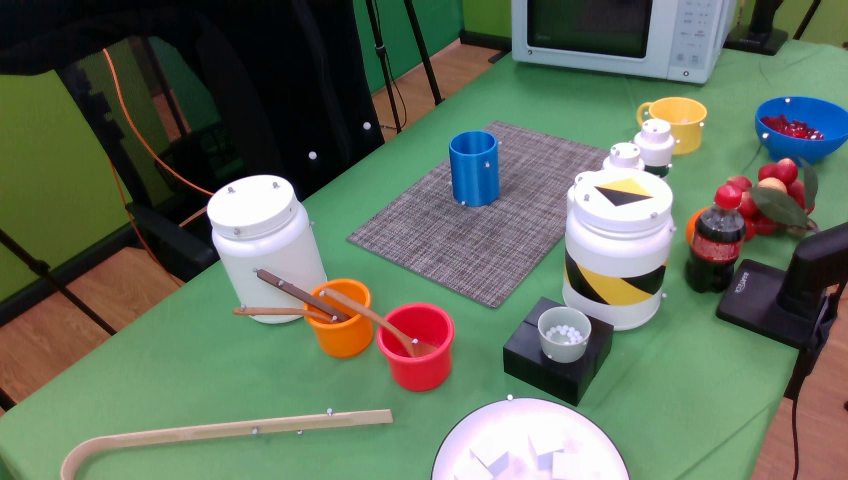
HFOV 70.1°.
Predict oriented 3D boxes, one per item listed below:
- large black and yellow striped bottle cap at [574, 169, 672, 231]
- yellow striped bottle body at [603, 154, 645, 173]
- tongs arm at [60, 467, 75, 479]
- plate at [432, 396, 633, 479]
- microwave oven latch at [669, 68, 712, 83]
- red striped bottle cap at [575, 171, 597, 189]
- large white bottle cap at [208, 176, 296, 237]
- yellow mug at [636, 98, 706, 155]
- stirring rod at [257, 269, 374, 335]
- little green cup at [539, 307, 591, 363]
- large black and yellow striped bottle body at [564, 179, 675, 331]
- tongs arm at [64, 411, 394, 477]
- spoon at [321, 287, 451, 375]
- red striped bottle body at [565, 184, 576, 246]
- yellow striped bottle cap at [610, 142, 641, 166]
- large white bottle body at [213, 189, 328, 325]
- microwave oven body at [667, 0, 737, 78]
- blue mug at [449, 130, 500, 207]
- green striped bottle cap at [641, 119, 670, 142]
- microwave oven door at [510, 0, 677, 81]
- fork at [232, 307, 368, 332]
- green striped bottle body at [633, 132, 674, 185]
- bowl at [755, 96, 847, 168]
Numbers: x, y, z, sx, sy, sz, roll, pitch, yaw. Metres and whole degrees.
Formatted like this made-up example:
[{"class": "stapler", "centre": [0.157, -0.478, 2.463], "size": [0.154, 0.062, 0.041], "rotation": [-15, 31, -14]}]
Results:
[{"class": "large black and yellow striped bottle cap", "centre": [0.242, -0.051, 0.738], "size": [0.115, 0.019, 0.114], "rotation": [-4, 37, 3]}, {"class": "yellow striped bottle body", "centre": [0.314, -0.091, 0.957], "size": [0.063, 0.121, 0.062], "rotation": [-4, 40, 4]}, {"class": "tongs arm", "centre": [-0.239, 0.301, 0.648], "size": [0.386, 0.028, 0.028], "rotation": [6, 49, 16]}, {"class": "plate", "centre": [0.112, 0.261, 0.634], "size": [0.209, 0.038, 0.208], "rotation": [-5, 40, 4]}, {"class": "microwave oven latch", "centre": [0.555, -0.348, 1.263], "size": [0.078, 0.029, 0.030], "rotation": [15, 46, 26]}, {"class": "red striped bottle cap", "centre": [0.242, -0.081, 0.876], "size": [0.044, 0.018, 0.044], "rotation": [-5, 44, 5]}, {"class": "large white bottle cap", "centre": [-0.229, -0.048, 0.809], "size": [0.115, 0.018, 0.114], "rotation": [-4, 40, 4]}, {"class": "yellow mug", "centre": [0.453, -0.217, 1.128], "size": [0.100, 0.064, 0.129], "rotation": [-34, 46, -27]}, {"class": "stirring rod", "centre": [-0.143, 0.084, 0.808], "size": [0.177, 0.006, 0.014], "rotation": [30, 43, -19]}, {"class": "little green cup", "centre": [0.167, 0.114, 0.721], "size": [0.061, 0.039, 0.061], "rotation": [-4, 43, 4]}, {"class": "large black and yellow striped bottle body", "centre": [0.253, 0.014, 0.793], "size": [0.131, 0.185, 0.130], "rotation": [-5, 40, 4]}, {"class": "tongs arm", "centre": [-0.228, 0.241, 0.715], "size": [0.385, 0.026, 0.050], "rotation": [-5, 43, 4]}, {"class": "spoon", "centre": [-0.046, 0.111, 0.757], "size": [0.194, 0.021, 0.041], "rotation": [38, 47, -15]}, {"class": "red striped bottle body", "centre": [0.247, -0.041, 0.910], "size": [0.063, 0.120, 0.062], "rotation": [-3, 39, 3]}, {"class": "yellow striped bottle cap", "centre": [0.308, -0.131, 0.925], "size": [0.044, 0.019, 0.044], "rotation": [-4, 45, 5]}, {"class": "large white bottle body", "centre": [-0.220, 0.016, 0.864], "size": [0.130, 0.185, 0.130], "rotation": [-5, 40, 4]}, {"class": "microwave oven body", "centre": [0.462, -0.552, 1.370], "size": [0.439, 0.261, 0.326], "rotation": [15, 46, 26]}, {"class": "blue mug", "centre": [0.089, -0.132, 1.049], "size": [0.082, 0.106, 0.116], "rotation": [0, 40, 9]}, {"class": "green striped bottle cap", "centre": [0.371, -0.175, 0.968], "size": [0.044, 0.020, 0.044], "rotation": [-4, 42, 4]}, {"class": "microwave oven door", "centre": [0.354, -0.478, 1.290], "size": [0.353, 0.245, 0.039], "rotation": [15, 45, 25]}, {"class": "fork", "centre": [-0.152, 0.101, 0.781], "size": [0.209, 0.018, 0.028], "rotation": [18, 19, -46]}, {"class": "green striped bottle body", "centre": [0.376, -0.135, 1.001], "size": [0.063, 0.120, 0.063], "rotation": [-5, 40, 5]}, {"class": "bowl", "centre": [0.645, -0.178, 1.041], "size": [0.151, 0.077, 0.150], "rotation": [-5, 40, 4]}]
